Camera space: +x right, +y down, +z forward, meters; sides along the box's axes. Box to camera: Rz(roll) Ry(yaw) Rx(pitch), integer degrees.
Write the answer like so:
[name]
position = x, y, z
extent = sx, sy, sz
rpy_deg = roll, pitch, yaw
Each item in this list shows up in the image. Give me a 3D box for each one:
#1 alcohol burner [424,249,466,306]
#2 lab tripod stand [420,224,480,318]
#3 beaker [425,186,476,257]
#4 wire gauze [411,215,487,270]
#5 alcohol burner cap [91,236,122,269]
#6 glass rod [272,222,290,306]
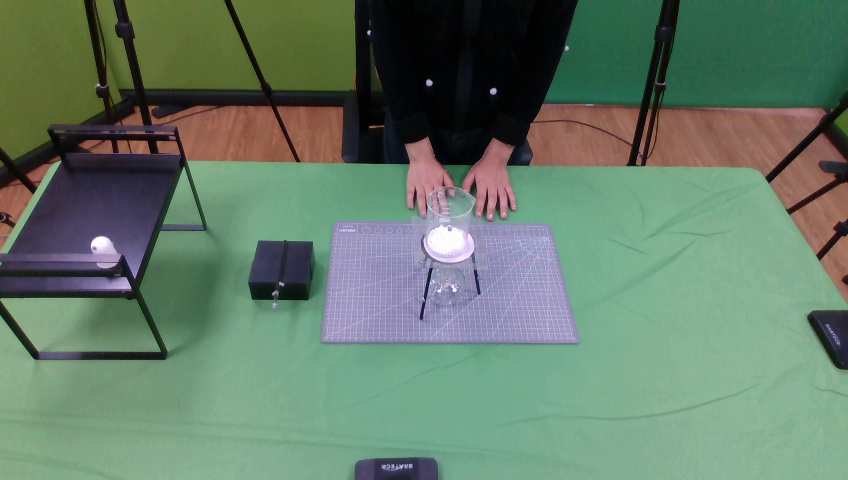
[alcohol burner]
position = 0.038, 0.061, 1.075
extent = 0.078, 0.120, 0.077
rpy_deg = 2, 44, -1
[lab tripod stand]
position = 0.034, 0.051, 1.070
extent = 0.148, 0.132, 0.147
rpy_deg = 3, 48, -3
[beaker]
position = 0.041, -0.028, 0.989
extent = 0.084, 0.101, 0.073
rpy_deg = -12, 48, -15
[wire gauze]
position = 0.041, 0.003, 1.026
extent = 0.125, 0.011, 0.120
rpy_deg = 0, 46, -1
[alcohol burner cap]
position = -0.465, 0.015, 0.883
extent = 0.034, 0.048, 0.033
rpy_deg = 1, 47, -1
[glass rod]
position = -0.255, 0.039, 1.084
extent = 0.008, 0.008, 0.198
rpy_deg = 1, 46, -3
